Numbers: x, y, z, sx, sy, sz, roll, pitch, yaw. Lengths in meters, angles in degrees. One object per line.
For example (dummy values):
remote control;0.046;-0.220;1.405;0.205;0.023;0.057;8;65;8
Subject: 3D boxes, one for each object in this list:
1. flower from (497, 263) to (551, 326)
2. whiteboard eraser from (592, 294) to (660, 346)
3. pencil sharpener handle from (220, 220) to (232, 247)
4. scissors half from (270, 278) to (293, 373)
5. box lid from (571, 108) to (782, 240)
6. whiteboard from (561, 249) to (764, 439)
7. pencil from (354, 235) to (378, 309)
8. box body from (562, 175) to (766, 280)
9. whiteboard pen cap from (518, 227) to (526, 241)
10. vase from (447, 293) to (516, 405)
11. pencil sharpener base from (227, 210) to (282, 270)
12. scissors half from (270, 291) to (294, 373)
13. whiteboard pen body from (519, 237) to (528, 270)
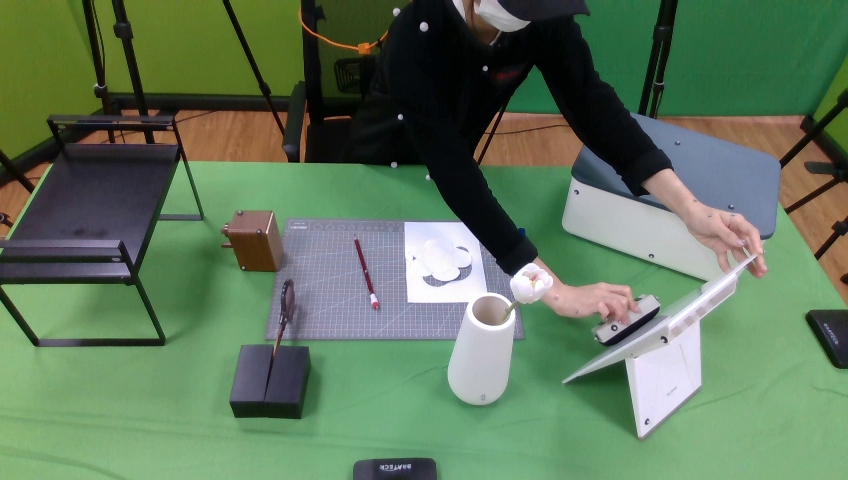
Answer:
flower;0.103;0.121;0.852;0.044;0.363;0.038;-1;64;-9
whiteboard eraser;0.337;0.133;1.009;0.112;0.056;0.042;-35;82;0
pencil sharpener handle;-0.362;-0.009;1.104;0.030;0.068;0.036;1;52;1
scissors half;-0.236;0.137;0.994;0.013;0.040;0.174;1;55;2
box lid;0.491;-0.139;1.168;0.370;0.015;0.262;21;49;15
whiteboard;0.386;0.176;0.905;0.217;0.306;0.143;-26;72;-26
pencil;-0.112;0.055;1.143;0.012;0.012;0.192;-9;46;-13
box body;0.486;-0.088;1.222;0.363;0.161;0.253;20;48;15
whiteboard pen cap;0.197;-0.009;1.220;0.018;0.018;0.033;6;53;2
vase;0.091;0.169;0.921;0.098;0.201;0.097;3;47;-3
pencil sharpener base;-0.311;0.001;1.112;0.077;0.107;0.061;1;47;1
scissors half;-0.237;0.151;1.009;0.013;0.040;0.174;5;38;-2
whiteboard pen body;0.193;0.034;1.180;0.017;0.017;0.140;6;49;1
